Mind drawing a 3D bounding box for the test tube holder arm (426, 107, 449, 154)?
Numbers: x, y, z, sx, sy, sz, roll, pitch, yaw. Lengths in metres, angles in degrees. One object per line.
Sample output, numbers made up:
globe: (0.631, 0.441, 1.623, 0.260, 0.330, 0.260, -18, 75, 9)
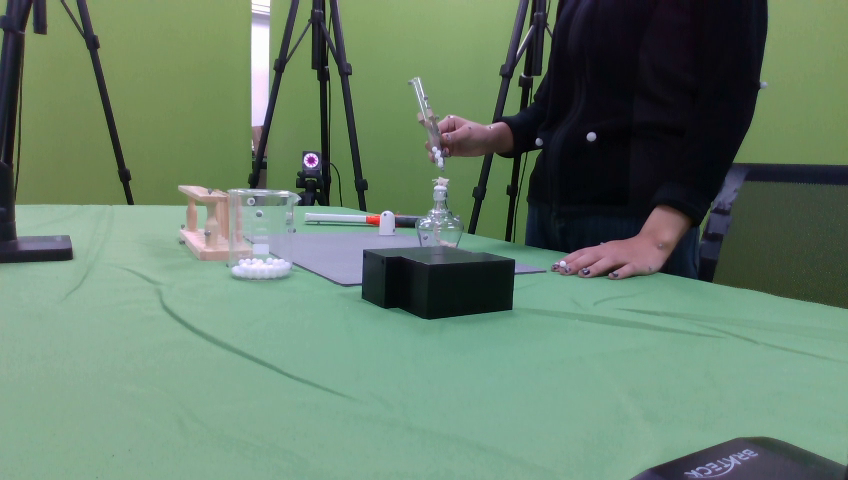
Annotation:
test tube holder arm: (0.024, -0.178, 1.005, 0.013, 0.015, 0.179, -18, -14, 7)

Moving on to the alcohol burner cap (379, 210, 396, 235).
alcohol burner cap: (-0.067, -0.033, 1.129, 0.034, 0.048, 0.034, 1, 8, 0)

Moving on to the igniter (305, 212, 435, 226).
igniter: (-0.114, -0.046, 1.296, 0.277, 0.025, 0.057, 1, -2, -11)

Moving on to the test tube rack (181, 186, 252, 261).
test tube rack: (-0.312, -0.031, 0.893, 0.067, 0.085, 0.241, -1, 8, -27)

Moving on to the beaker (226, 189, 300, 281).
beaker: (-0.184, -0.007, 0.694, 0.084, 0.100, 0.073, -1, 8, -29)

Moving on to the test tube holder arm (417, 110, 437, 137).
test tube holder arm: (0.008, -0.184, 0.963, 0.010, 0.015, 0.088, -21, -15, 15)

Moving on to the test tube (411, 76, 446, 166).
test tube: (0.008, -0.186, 0.940, 0.017, 0.150, 0.017, -16, -9, -2)

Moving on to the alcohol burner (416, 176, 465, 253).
alcohol burner: (0.025, -0.040, 0.935, 0.078, 0.119, 0.078, 1, 6, 0)
